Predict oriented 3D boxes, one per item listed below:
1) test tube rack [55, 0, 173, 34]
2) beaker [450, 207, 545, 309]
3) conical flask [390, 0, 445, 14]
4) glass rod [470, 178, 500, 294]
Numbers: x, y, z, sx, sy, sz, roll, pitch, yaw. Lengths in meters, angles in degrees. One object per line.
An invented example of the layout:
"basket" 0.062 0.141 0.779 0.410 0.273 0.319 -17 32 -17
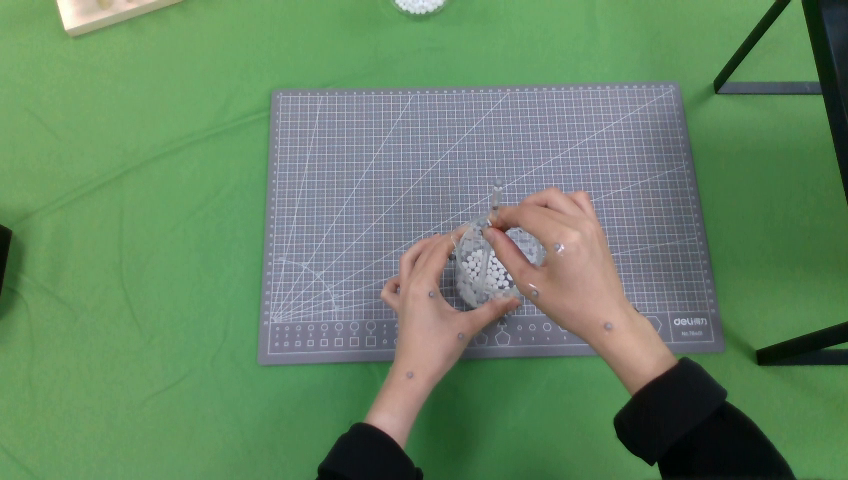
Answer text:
"test tube rack" -0.304 -0.319 0.671 0.242 0.085 0.066 -22 74 -7
"beaker" 0.061 0.020 0.559 0.084 0.101 0.073 23 73 7
"conical flask" -0.008 -0.312 0.653 0.075 0.122 0.075 0 72 0
"glass rod" 0.049 0.005 0.504 0.008 0.201 0.008 0 63 0
